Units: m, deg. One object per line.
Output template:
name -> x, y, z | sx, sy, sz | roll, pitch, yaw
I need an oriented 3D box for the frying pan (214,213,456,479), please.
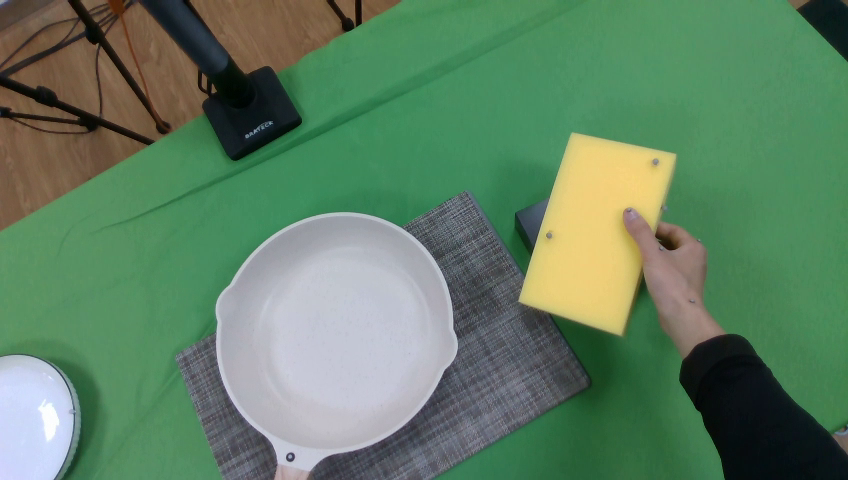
frying pan -> -0.133, 0.204, 0.713 | 0.306, 0.103, 0.485 | 10, 66, 12

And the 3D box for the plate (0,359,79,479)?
plate -> -0.543, 0.262, 0.789 | 0.207, 0.039, 0.206 | -2, 72, 7

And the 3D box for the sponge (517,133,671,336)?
sponge -> 0.195, -0.007, 0.694 | 0.117, 0.061, 0.206 | 15, 85, 22
